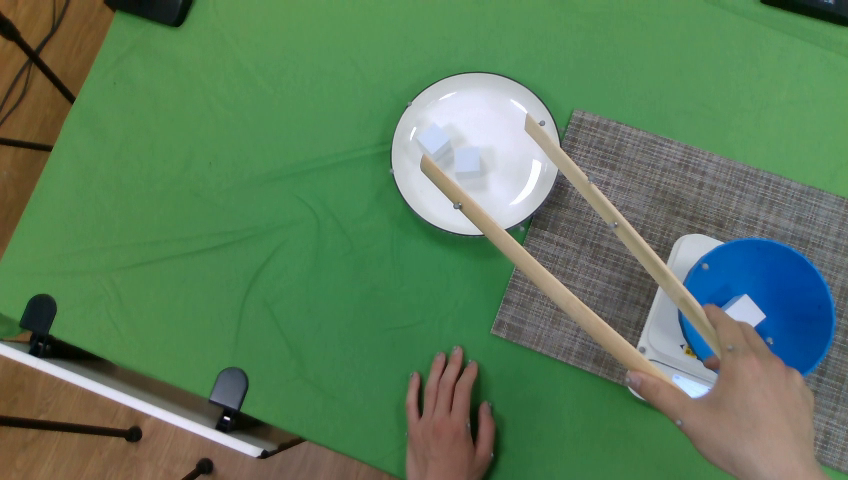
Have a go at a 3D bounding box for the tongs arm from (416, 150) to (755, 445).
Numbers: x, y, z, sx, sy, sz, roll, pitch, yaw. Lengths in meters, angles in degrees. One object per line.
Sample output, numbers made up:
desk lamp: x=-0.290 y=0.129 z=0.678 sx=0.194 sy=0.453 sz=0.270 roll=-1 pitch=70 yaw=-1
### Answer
tongs arm: x=0.117 y=0.035 z=0.544 sx=0.028 sy=0.028 sz=0.384 roll=-29 pitch=59 yaw=-29

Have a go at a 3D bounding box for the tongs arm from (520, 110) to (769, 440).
tongs arm: x=0.180 y=0.006 z=0.570 sx=0.051 sy=0.027 sz=0.380 roll=-21 pitch=57 yaw=-20

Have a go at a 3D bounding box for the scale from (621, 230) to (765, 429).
scale: x=0.325 y=0.100 z=0.688 sx=0.148 sy=0.032 sz=0.200 roll=21 pitch=83 yaw=8

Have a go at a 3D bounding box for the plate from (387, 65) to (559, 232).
plate: x=0.059 y=-0.110 z=0.744 sx=0.207 sy=0.039 sz=0.207 roll=-1 pitch=81 yaw=4

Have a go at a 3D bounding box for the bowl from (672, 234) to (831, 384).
bowl: x=0.329 y=0.073 z=0.639 sx=0.151 sy=0.077 sz=0.151 roll=0 pitch=81 yaw=3
